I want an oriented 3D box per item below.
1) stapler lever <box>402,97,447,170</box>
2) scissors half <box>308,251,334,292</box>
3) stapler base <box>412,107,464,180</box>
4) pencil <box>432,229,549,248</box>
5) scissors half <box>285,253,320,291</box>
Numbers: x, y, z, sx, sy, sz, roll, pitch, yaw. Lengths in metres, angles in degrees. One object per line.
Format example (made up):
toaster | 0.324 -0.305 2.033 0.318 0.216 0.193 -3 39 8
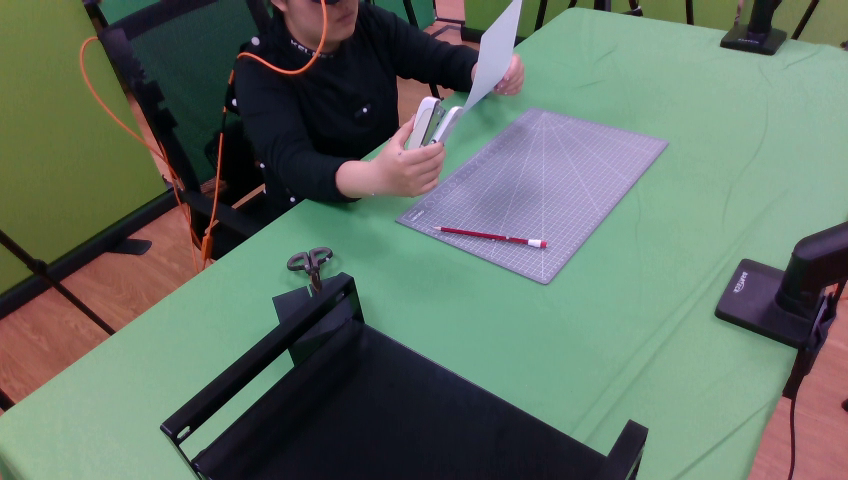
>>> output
stapler lever | -0.005 -0.167 0.941 0.040 0.118 0.027 35 21 10
scissors half | -0.159 0.046 0.913 0.040 0.013 0.174 -5 18 -4
stapler base | 0.016 -0.154 0.938 0.024 0.130 0.041 35 21 10
pencil | 0.103 -0.004 0.970 0.193 0.012 0.012 8 42 18
scissors half | -0.178 0.049 0.909 0.040 0.013 0.174 -16 19 -20
